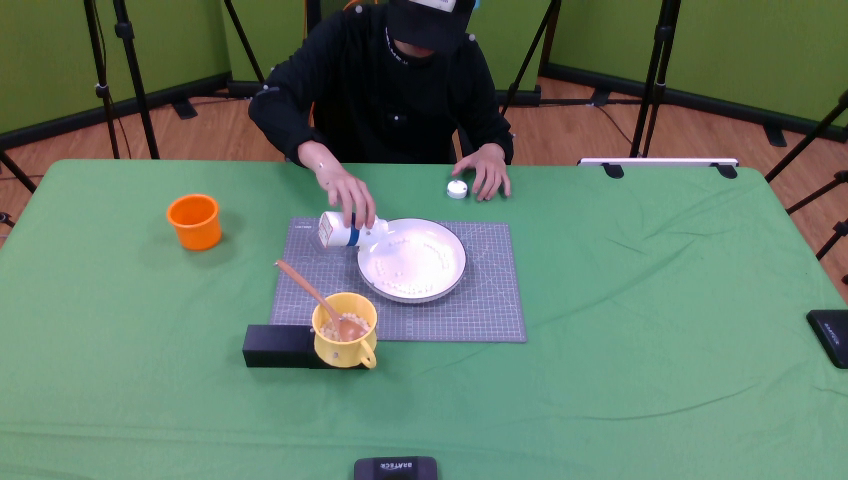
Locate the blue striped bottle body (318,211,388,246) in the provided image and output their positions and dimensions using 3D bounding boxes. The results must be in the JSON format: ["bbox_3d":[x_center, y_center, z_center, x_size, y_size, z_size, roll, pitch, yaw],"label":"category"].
[{"bbox_3d":[-0.128,-0.021,1.109,0.121,0.063,0.062,0,43,-30],"label":"blue striped bottle body"}]

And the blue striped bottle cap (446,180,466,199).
[{"bbox_3d":[0.069,-0.109,1.313,0.044,0.021,0.044,3,42,-2],"label":"blue striped bottle cap"}]

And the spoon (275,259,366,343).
[{"bbox_3d":[-0.161,0.098,0.946,0.194,0.021,0.041,48,56,-5],"label":"spoon"}]

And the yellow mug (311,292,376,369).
[{"bbox_3d":[-0.115,0.150,0.945,0.100,0.064,0.130,-29,57,-28],"label":"yellow mug"}]

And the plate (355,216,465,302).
[{"bbox_3d":[-0.027,0.039,1.144,0.208,0.039,0.206,2,46,-2],"label":"plate"}]
